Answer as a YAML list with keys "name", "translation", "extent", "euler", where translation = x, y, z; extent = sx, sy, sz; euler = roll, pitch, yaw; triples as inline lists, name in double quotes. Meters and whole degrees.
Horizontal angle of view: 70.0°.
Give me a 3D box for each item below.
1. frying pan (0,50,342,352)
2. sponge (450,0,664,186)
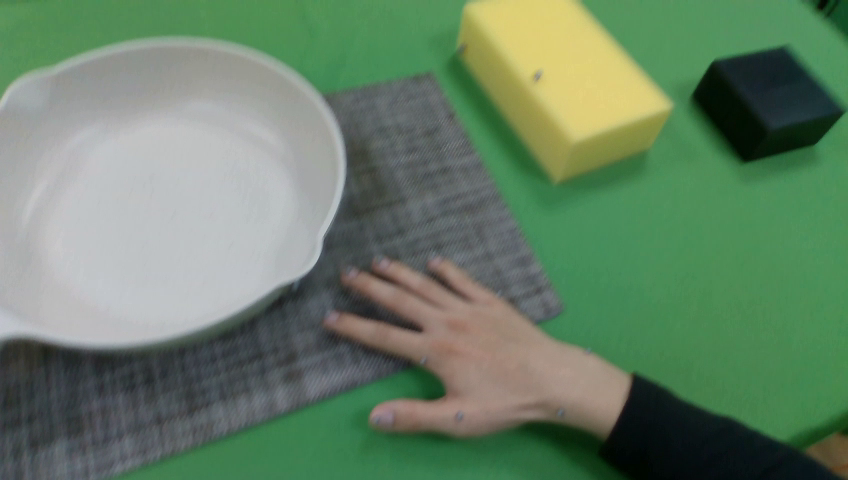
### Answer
- name: "frying pan"
  translation: [-0.268, 0.025, 0.429]
  extent: [0.305, 0.103, 0.486]
  euler: [30, 50, 15]
- name: "sponge"
  translation: [0.130, -0.164, 0.630]
  extent: [0.118, 0.061, 0.205]
  euler: [-22, 61, -20]
